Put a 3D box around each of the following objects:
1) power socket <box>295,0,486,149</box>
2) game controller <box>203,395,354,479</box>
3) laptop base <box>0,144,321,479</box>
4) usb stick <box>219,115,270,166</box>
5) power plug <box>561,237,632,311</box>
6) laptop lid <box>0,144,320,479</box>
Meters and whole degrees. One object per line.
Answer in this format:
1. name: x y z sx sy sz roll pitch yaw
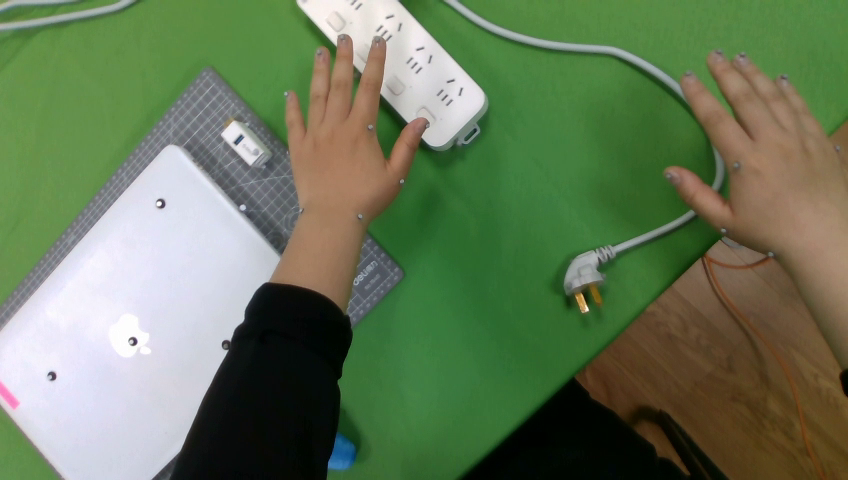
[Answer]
1. power socket: -0.033 -0.181 0.577 0.072 0.032 0.226 -43 85 11
2. game controller: -0.155 0.230 0.612 0.155 0.052 0.096 -44 79 9
3. laptop base: -0.302 0.100 0.646 0.354 0.023 0.235 -44 88 9
4. usb stick: -0.185 -0.103 0.609 0.021 0.027 0.059 -45 82 10
5. power plug: 0.159 0.030 0.547 0.072 0.035 0.052 -27 70 23
6. laptop lid: -0.302 0.103 0.635 0.357 0.013 0.241 -42 87 9
